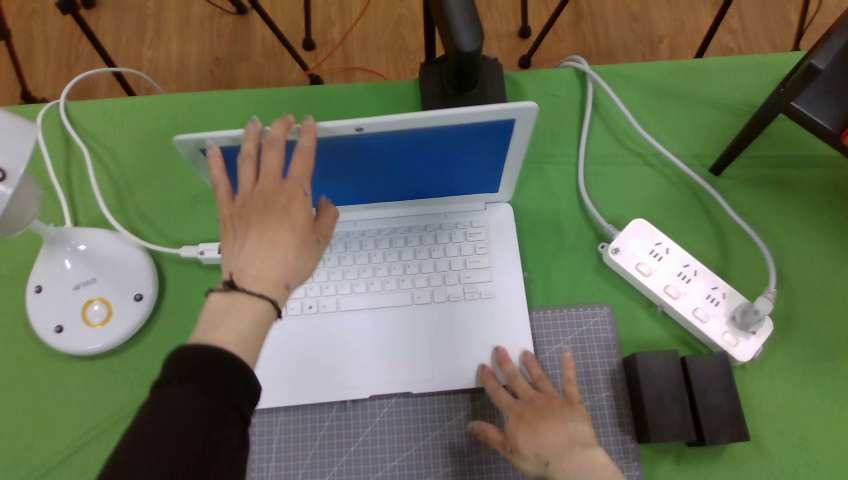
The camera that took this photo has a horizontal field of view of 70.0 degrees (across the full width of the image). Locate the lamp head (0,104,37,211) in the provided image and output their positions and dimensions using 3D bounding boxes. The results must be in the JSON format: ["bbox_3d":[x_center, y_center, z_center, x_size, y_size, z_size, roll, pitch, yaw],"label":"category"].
[{"bbox_3d":[-0.352,-0.062,0.413,0.124,0.112,0.112,28,67,-35],"label":"lamp head"}]

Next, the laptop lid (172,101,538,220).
[{"bbox_3d":[-0.064,-0.080,0.680,0.357,0.243,0.013,-6,71,0],"label":"laptop lid"}]

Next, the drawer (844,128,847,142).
[{"bbox_3d":[0.568,-0.127,0.598,0.193,0.073,0.211,40,75,13],"label":"drawer"}]

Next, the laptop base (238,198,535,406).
[{"bbox_3d":[-0.052,0.071,0.755,0.354,0.023,0.234,-5,74,-2],"label":"laptop base"}]

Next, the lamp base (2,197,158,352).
[{"bbox_3d":[-0.421,0.024,0.683,0.160,0.181,0.178,-34,72,-11],"label":"lamp base"}]

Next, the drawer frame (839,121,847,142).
[{"bbox_3d":[0.568,-0.131,0.598,0.200,0.083,0.213,40,75,13],"label":"drawer frame"}]

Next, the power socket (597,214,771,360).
[{"bbox_3d":[0.322,0.056,0.751,0.225,0.033,0.072,42,76,13],"label":"power socket"}]

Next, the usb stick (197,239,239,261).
[{"bbox_3d":[-0.251,0.013,0.761,0.059,0.027,0.021,0,67,-4],"label":"usb stick"}]

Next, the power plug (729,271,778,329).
[{"bbox_3d":[0.396,0.076,0.720,0.072,0.053,0.035,-35,74,-12],"label":"power plug"}]

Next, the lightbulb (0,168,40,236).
[{"bbox_3d":[-0.332,-0.043,0.428,0.059,0.109,0.059,-24,48,30],"label":"lightbulb"}]
